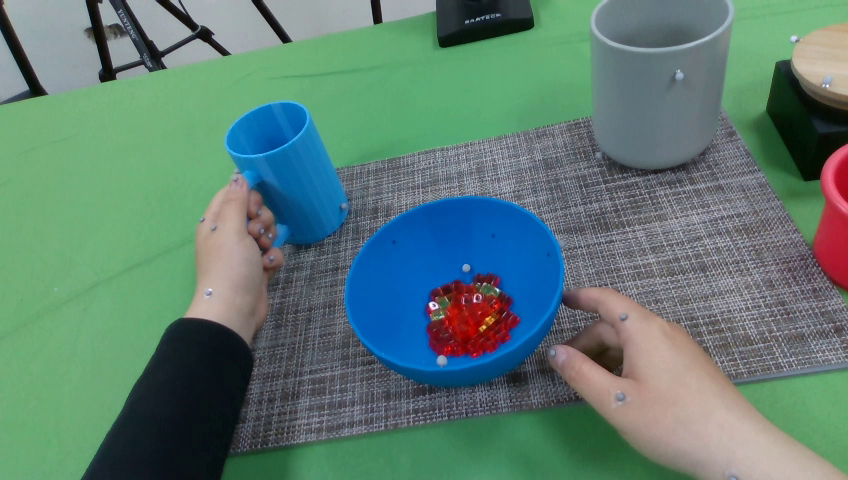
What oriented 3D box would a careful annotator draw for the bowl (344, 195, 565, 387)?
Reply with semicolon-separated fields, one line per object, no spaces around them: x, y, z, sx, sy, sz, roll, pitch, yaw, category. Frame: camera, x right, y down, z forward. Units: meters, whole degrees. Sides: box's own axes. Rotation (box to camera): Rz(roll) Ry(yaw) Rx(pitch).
0.026;0.047;0.431;0.151;0.077;0.150;-8;46;9;bowl

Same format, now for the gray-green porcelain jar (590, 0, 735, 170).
0.195;-0.131;0.512;0.106;0.128;0.105;-8;47;9;gray-green porcelain jar

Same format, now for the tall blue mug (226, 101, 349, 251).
-0.121;-0.048;0.542;0.078;0.109;0.106;-10;47;7;tall blue mug

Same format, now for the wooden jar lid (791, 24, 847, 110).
0.351;-0.136;0.479;0.108;0.021;0.107;-9;46;10;wooden jar lid

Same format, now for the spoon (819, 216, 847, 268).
0.341;-0.050;0.385;0.022;0.194;0.041;21;34;-25;spoon
